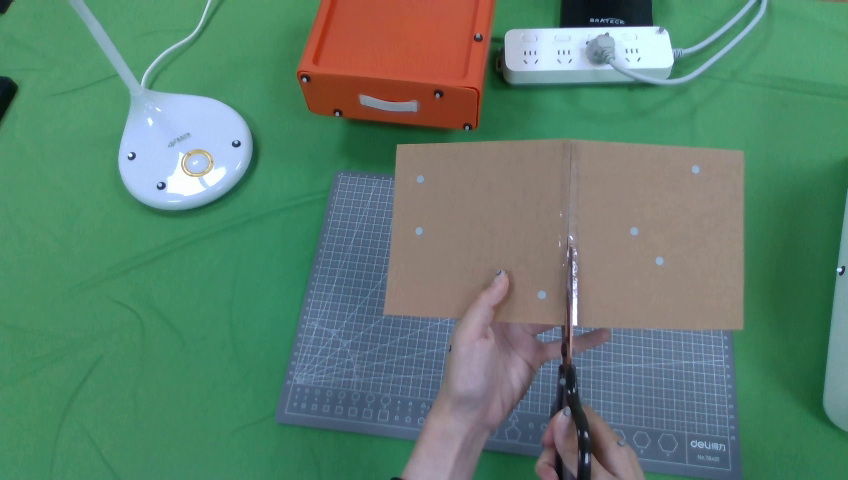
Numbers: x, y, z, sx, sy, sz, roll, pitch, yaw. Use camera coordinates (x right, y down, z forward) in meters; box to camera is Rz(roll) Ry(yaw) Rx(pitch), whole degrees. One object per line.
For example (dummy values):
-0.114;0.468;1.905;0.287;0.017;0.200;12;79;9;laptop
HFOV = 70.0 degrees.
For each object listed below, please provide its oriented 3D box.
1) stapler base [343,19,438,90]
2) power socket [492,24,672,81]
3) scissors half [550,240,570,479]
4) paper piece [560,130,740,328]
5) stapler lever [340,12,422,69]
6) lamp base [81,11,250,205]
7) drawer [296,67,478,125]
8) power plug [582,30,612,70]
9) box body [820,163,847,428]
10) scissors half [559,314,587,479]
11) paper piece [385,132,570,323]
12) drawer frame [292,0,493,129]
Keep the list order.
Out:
-0.043;-0.226;0.722;0.129;0.024;0.041;35;87;20;stapler base
0.202;-0.240;0.774;0.227;0.033;0.071;0;65;2;power socket
0.100;0.087;0.436;0.013;0.040;0.175;2;98;4;scissors half
0.166;-0.007;0.438;0.136;0.004;0.135;4;88;-7;paper piece
-0.052;-0.233;0.698;0.117;0.040;0.027;35;87;21;stapler lever
-0.306;-0.154;0.673;0.178;0.182;0.160;37;71;21;lamp base
-0.026;-0.245;0.710;0.194;0.074;0.210;7;64;7;drawer
0.210;-0.224;0.741;0.035;0.053;0.072;10;65;7;power plug
0.542;0.030;0.557;0.253;0.161;0.362;18;67;11;box body
0.099;0.083;0.412;0.013;0.040;0.173;3;63;0;scissors half
0.037;-0.010;0.450;0.135;0.009;0.138;2;88;19;paper piece
-0.027;-0.247;0.712;0.201;0.083;0.212;6;64;6;drawer frame
